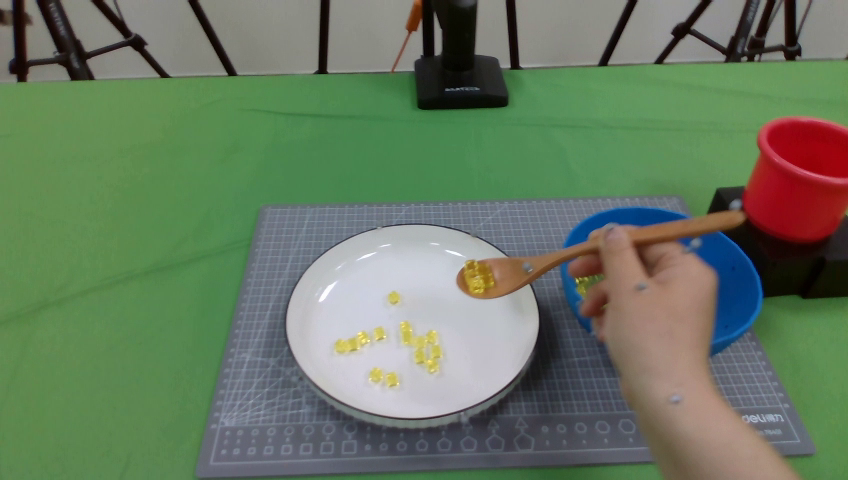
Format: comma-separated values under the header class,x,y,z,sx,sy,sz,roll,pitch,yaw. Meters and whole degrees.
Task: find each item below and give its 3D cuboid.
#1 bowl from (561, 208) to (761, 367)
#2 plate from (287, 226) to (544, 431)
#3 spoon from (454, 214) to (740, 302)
class,x,y,z,sx,sy,sz,roll,pitch,yaw
bowl,0.182,0.051,0.496,0.151,0.077,0.150,0,43,0
plate,-0.006,0.069,0.505,0.208,0.039,0.205,0,43,0
spoon,0.107,0.011,0.408,0.193,0.022,0.041,-18,33,31
